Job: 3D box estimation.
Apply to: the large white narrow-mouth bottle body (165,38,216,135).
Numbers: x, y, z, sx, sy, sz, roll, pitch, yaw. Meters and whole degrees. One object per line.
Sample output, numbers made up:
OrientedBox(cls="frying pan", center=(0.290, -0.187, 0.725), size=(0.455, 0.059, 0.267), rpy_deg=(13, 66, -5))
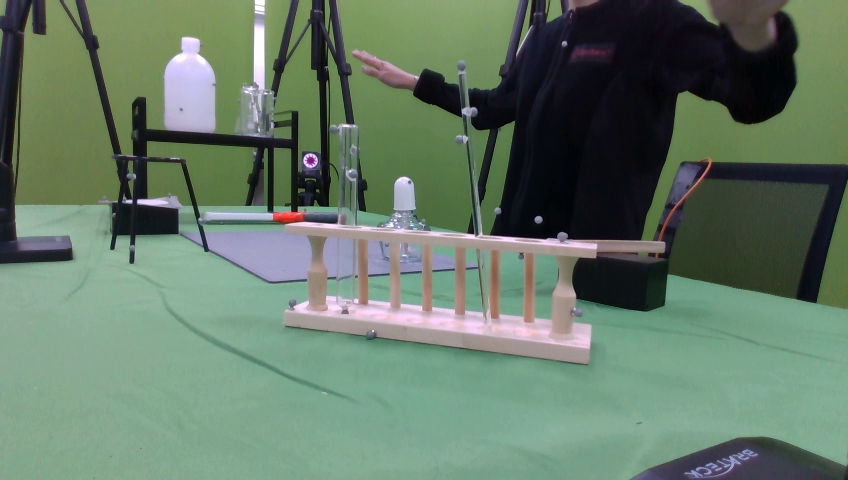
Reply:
OrientedBox(cls="large white narrow-mouth bottle body", center=(-0.491, -0.322, 1.275), size=(0.102, 0.194, 0.102), rpy_deg=(2, 7, 0))

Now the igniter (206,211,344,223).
OrientedBox(cls="igniter", center=(-0.302, -0.048, 1.249), size=(0.278, 0.025, 0.057), rpy_deg=(-2, -2, -27))

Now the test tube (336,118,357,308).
OrientedBox(cls="test tube", center=(-0.061, -0.019, 0.476), size=(0.017, 0.150, 0.017), rpy_deg=(2, 10, 0))

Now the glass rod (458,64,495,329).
OrientedBox(cls="glass rod", center=(0.040, -0.029, 0.449), size=(0.008, 0.199, 0.008), rpy_deg=(-7, 9, 1))

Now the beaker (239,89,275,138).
OrientedBox(cls="beaker", center=(-0.361, -0.273, 1.307), size=(0.074, 0.100, 0.084), rpy_deg=(1, 8, -11))

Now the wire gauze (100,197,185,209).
OrientedBox(cls="wire gauze", center=(-0.469, -0.062, 1.008), size=(0.126, 0.011, 0.121), rpy_deg=(-2, 8, -25))

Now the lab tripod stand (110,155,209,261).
OrientedBox(cls="lab tripod stand", center=(-0.361, -0.046, 0.806), size=(0.148, 0.131, 0.148), rpy_deg=(2, 5, 0))

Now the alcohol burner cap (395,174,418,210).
OrientedBox(cls="alcohol burner cap", center=(-0.026, -0.067, 0.833), size=(0.034, 0.048, 0.034), rpy_deg=(-1, 12, 1))

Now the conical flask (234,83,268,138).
OrientedBox(cls="conical flask", center=(-0.400, -0.298, 1.395), size=(0.075, 0.122, 0.075), rpy_deg=(2, 8, 0))

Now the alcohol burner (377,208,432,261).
OrientedBox(cls="alcohol burner", center=(-0.027, -0.031, 0.838), size=(0.078, 0.119, 0.078), rpy_deg=(0, 6, 0))

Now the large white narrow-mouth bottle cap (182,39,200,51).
OrientedBox(cls="large white narrow-mouth bottle cap", center=(-0.488, -0.406, 1.266), size=(0.038, 0.024, 0.037), rpy_deg=(2, 7, 0))

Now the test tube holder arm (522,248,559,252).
OrientedBox(cls="test tube holder arm", center=(0.144, 0.005, 0.636), size=(0.088, 0.015, 0.010), rpy_deg=(-1, 18, -20))

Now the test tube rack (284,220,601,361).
OrientedBox(cls="test tube rack", center=(0.013, 0.032, 0.482), size=(0.242, 0.085, 0.067), rpy_deg=(4, 7, 16))

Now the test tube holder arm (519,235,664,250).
OrientedBox(cls="test tube holder arm", center=(0.185, 0.003, 0.657), size=(0.179, 0.015, 0.013), rpy_deg=(-1, 18, -20))
